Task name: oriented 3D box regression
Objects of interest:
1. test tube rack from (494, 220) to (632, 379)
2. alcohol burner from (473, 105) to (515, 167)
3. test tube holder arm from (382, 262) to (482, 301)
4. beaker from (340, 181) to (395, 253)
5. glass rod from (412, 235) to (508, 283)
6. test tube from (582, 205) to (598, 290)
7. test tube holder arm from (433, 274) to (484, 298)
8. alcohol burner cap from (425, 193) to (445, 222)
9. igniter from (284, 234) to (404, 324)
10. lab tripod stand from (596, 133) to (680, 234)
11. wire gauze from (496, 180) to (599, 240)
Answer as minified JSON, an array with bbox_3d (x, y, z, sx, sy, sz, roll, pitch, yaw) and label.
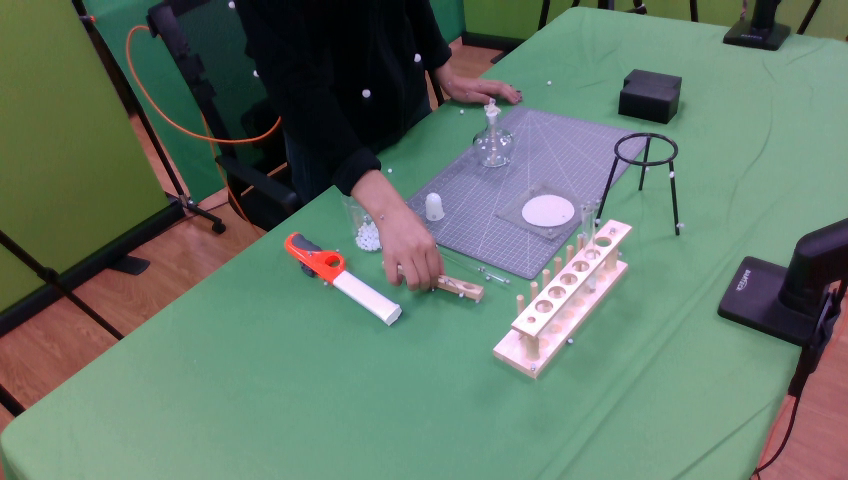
[{"bbox_3d":[0.191,0.068,0.818,0.066,0.085,0.243,25,51,35],"label":"test tube rack"},{"bbox_3d":[0.128,-0.196,1.116,0.078,0.119,0.077,-4,40,4],"label":"alcohol burner"},{"bbox_3d":[0.008,0.061,0.911,0.177,0.015,0.013,14,37,29],"label":"test tube holder arm"},{"bbox_3d":[-0.086,-0.037,0.985,0.084,0.101,0.073,-18,41,-11],"label":"beaker"},{"bbox_3d":[0.051,0.028,0.951,0.198,0.008,0.008,25,51,37],"label":"glass rod"},{"bbox_3d":[0.220,0.014,0.798,0.017,0.151,0.017,-9,43,9],"label":"test tube"},{"bbox_3d":[0.049,0.068,0.893,0.087,0.015,0.010,15,38,30],"label":"test tube holder arm"},{"bbox_3d":[0.017,-0.057,1.029,0.034,0.048,0.033,-6,39,5],"label":"alcohol burner cap"},{"bbox_3d":[-0.135,0.054,0.942,0.274,0.025,0.057,29,63,36],"label":"igniter"},{"bbox_3d":[0.338,-0.091,0.940,0.148,0.132,0.147,-7,39,6],"label":"lab tripod stand"},{"bbox_3d":[0.206,-0.050,1.012,0.125,0.011,0.120,-34,45,-26],"label":"wire gauze"}]
